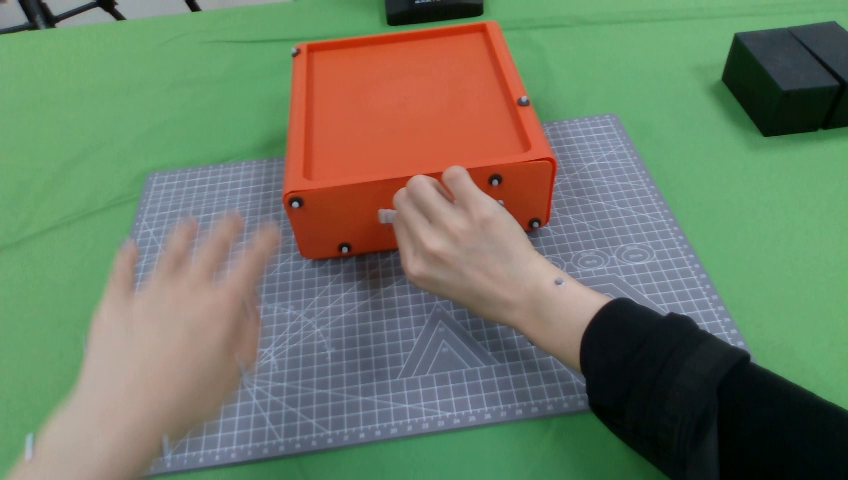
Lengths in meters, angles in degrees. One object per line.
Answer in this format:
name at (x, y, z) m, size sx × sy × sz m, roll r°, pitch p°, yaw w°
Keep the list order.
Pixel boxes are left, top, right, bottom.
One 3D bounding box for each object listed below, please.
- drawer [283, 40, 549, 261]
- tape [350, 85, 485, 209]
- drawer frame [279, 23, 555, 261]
drawer at (-0.014, -0.088, 0.525) m, size 0.194 × 0.074 × 0.209 m, roll -8°, pitch 45°, yaw -2°
tape at (-0.006, -0.083, 0.528) m, size 0.117 × 0.053 × 0.115 m, roll -3°, pitch 46°, yaw 3°
drawer frame at (-0.014, -0.092, 0.524) m, size 0.202 × 0.083 × 0.211 m, roll -9°, pitch 46°, yaw -2°
